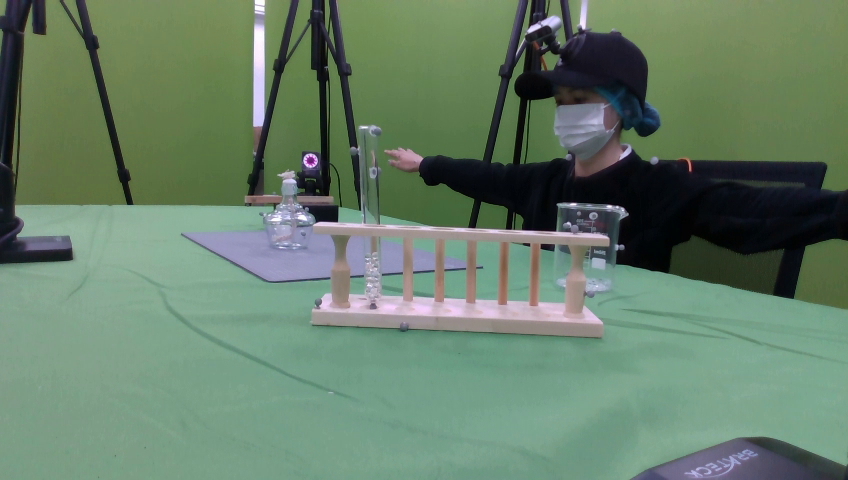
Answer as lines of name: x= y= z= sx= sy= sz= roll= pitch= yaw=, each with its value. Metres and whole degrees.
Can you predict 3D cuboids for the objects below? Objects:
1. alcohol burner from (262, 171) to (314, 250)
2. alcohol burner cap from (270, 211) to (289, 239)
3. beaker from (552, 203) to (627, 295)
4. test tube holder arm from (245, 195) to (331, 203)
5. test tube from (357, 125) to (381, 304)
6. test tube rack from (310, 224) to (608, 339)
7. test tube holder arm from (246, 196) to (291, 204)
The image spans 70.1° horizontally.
alcohol burner: x=-0.205 y=-0.045 z=0.913 sx=0.078 sy=0.119 sz=0.078 roll=1 pitch=9 yaw=0
alcohol burner cap: x=-0.246 y=-0.026 z=1.035 sx=0.034 sy=0.048 sz=0.034 roll=2 pitch=8 yaw=0
beaker: x=0.191 y=0.010 z=0.708 sx=0.083 sy=0.100 sz=0.074 roll=8 pitch=9 yaw=33
test tube holder arm: x=-0.267 y=-0.080 z=1.199 sx=0.179 sy=0.015 sz=0.013 roll=-3 pitch=20 yaw=-37
test tube: x=-0.045 y=-0.019 z=0.501 sx=0.017 sy=0.150 sz=0.017 roll=-1 pitch=12 yaw=0
test tube rack: x=0.028 y=0.032 z=0.528 sx=0.242 sy=0.085 sz=0.067 roll=3 pitch=7 yaw=0
test tube holder arm: x=-0.300 y=-0.077 z=1.168 sx=0.088 sy=0.015 sz=0.010 roll=-3 pitch=20 yaw=-36
